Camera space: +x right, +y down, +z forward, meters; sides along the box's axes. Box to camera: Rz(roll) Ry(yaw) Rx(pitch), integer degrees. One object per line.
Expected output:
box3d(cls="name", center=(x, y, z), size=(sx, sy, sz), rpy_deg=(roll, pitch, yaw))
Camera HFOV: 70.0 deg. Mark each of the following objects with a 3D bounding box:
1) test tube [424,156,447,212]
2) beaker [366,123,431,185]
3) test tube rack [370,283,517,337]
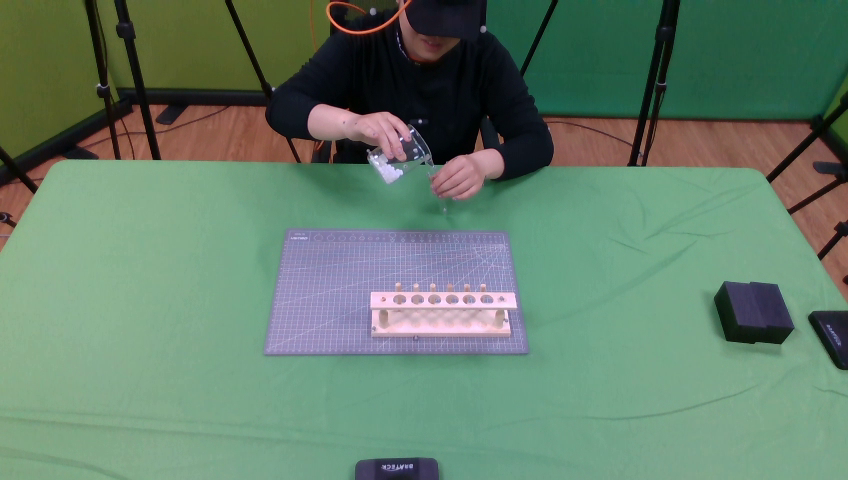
box3d(cls="test tube", center=(0.024, -0.108, 1.200), size=(0.017, 0.151, 0.017), rpy_deg=(-9, 49, 10))
box3d(cls="beaker", center=(-0.047, -0.153, 1.112), size=(0.100, 0.084, 0.073), rpy_deg=(-36, 42, -5))
box3d(cls="test tube rack", center=(0.030, 0.116, 1.041), size=(0.242, 0.085, 0.066), rpy_deg=(1, 46, -4))
